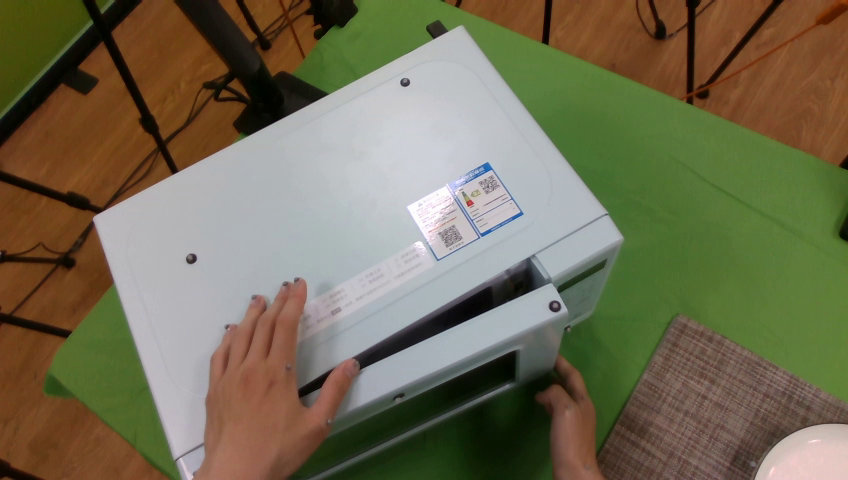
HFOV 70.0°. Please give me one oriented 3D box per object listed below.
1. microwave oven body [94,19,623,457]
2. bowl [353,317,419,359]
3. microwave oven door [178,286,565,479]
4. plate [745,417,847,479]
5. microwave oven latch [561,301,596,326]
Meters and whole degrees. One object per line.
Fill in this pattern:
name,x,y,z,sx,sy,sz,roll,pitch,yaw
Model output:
microwave oven body,-0.067,0.020,0.694,0.442,0.262,0.323,-30,67,-5
bowl,-0.068,0.075,0.711,0.151,0.077,0.150,-3,62,7
microwave oven door,-0.028,0.165,0.621,0.356,0.246,0.039,-24,65,-3
plate,0.439,0.293,0.630,0.207,0.039,0.206,-3,67,6
microwave oven latch,0.170,0.087,0.740,0.079,0.030,0.030,-28,66,-4
